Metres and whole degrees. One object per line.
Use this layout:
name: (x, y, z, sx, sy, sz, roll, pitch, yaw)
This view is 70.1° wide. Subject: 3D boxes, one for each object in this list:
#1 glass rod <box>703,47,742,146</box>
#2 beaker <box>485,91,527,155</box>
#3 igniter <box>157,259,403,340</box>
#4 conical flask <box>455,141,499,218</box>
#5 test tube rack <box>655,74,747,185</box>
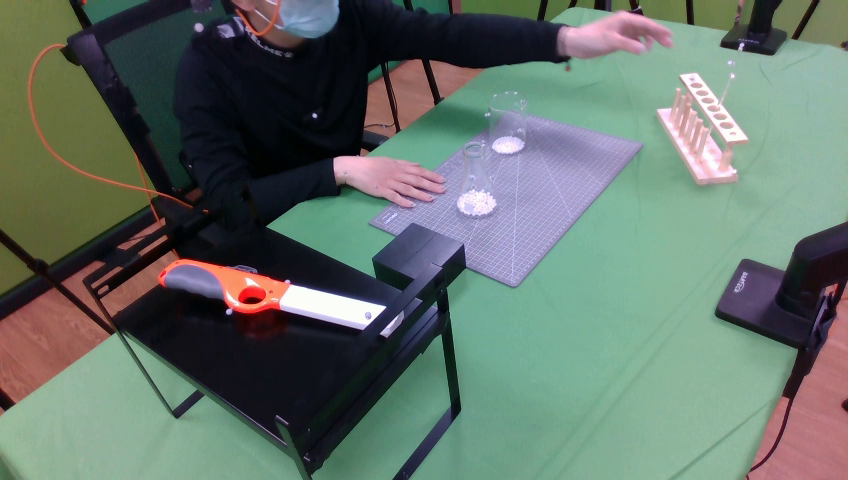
glass rod: (0.503, -0.237, 1.027, 0.008, 0.200, 0.008, -2, 49, 2)
beaker: (0.158, -0.217, 1.141, 0.074, 0.101, 0.083, -19, 43, -12)
igniter: (-0.157, 0.059, 0.637, 0.275, 0.025, 0.057, 11, 43, 14)
conical flask: (0.085, -0.103, 0.999, 0.075, 0.122, 0.075, -4, 40, 4)
test tube rack: (0.491, -0.205, 1.092, 0.067, 0.085, 0.241, -5, 40, 3)
